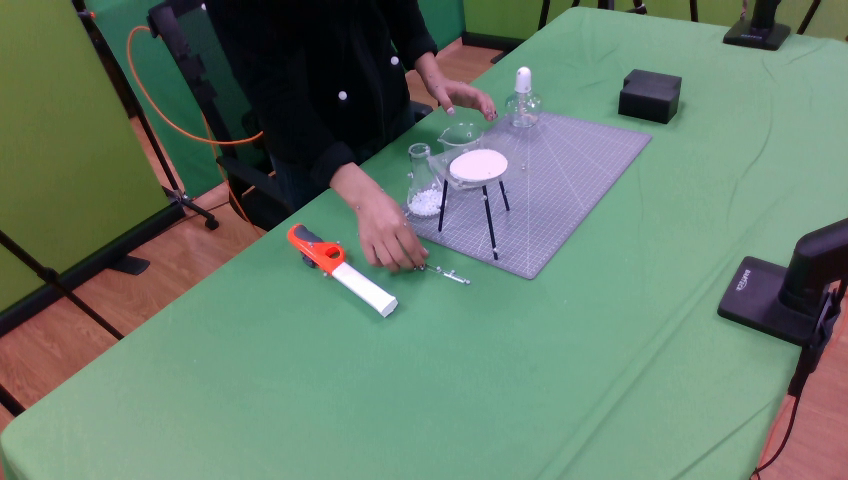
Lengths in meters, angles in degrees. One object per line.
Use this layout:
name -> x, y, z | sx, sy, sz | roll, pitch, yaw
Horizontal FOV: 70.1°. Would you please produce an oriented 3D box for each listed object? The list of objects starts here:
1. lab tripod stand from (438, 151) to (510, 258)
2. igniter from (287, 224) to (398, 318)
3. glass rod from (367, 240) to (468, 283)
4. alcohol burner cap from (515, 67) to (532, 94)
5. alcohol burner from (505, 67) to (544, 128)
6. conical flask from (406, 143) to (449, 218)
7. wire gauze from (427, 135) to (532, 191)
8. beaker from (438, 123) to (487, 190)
lab tripod stand -> 0.087, -0.064, 0.952 | 0.148, 0.132, 0.147 | -6, 38, 5
igniter -> -0.139, 0.042, 0.958 | 0.057, 0.025, 0.274 | -42, 49, -19
glass rod -> -0.014, 0.032, 0.959 | 0.198, 0.008, 0.008 | 21, 49, 30
alcohol burner cap -> 0.197, -0.315, 1.187 | 0.034, 0.048, 0.033 | -3, 47, 3
alcohol burner -> 0.201, -0.288, 1.211 | 0.078, 0.119, 0.077 | -6, 38, 5
conical flask -> -0.001, -0.104, 1.024 | 0.075, 0.122, 0.075 | -6, 40, 5
wire gauze -> 0.081, -0.115, 0.909 | 0.125, 0.011, 0.120 | -18, 39, -11
beaker -> 0.072, -0.147, 1.080 | 0.084, 0.101, 0.073 | -5, 40, 7
